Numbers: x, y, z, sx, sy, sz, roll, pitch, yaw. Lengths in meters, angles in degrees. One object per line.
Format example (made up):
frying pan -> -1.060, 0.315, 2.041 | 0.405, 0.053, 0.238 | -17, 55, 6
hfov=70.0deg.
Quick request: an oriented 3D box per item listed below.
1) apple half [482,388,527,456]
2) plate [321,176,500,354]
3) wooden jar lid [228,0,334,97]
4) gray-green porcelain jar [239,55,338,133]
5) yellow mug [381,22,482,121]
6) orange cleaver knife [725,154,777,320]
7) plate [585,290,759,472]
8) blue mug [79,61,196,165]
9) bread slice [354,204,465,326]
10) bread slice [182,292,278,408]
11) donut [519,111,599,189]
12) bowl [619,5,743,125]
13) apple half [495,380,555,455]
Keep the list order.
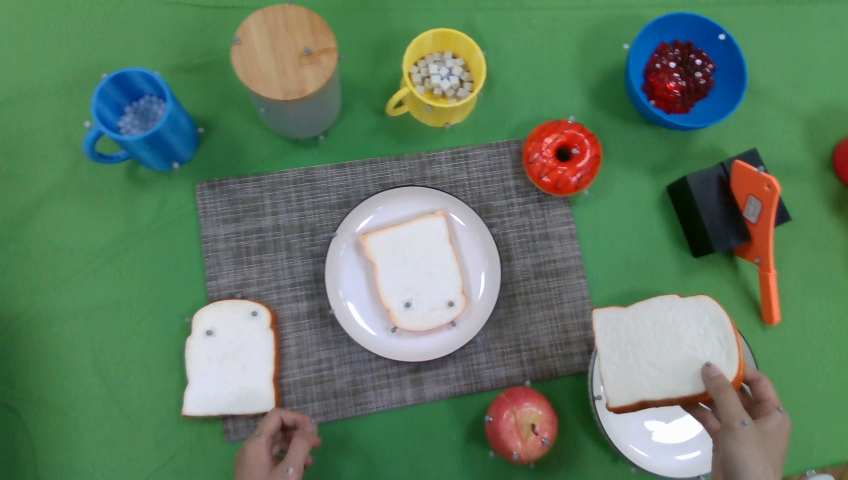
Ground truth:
apple half -> 0.082, 0.208, 0.677 | 0.033, 0.081, 0.081 | -17, 82, -12
plate -> -0.016, 0.030, 0.713 | 0.208, 0.039, 0.207 | 1, 81, -5
wooden jar lid -> -0.148, -0.199, 0.633 | 0.108, 0.021, 0.108 | 1, 79, -4
gray-green porcelain jar -> -0.153, -0.187, 0.694 | 0.106, 0.127, 0.105 | 1, 80, -5
yellow mug -> 0.004, -0.197, 0.742 | 0.131, 0.064, 0.099 | -33, 85, -9
orange cleaver knife -> 0.399, -0.001, 0.738 | 0.012, 0.076, 0.213 | -22, 113, -13
plate -> 0.291, 0.165, 0.723 | 0.209, 0.038, 0.208 | 1, 80, -5
blue mug -> -0.326, -0.130, 0.678 | 0.116, 0.106, 0.082 | -35, 85, -10
bread slice -> -0.009, 0.033, 0.714 | 0.107, 0.018, 0.134 | -20, 82, -8
bread slice -> -0.220, 0.125, 0.688 | 0.105, 0.019, 0.131 | -2, 82, -6
donut -> 0.166, -0.112, 0.750 | 0.099, 0.048, 0.098 | 1, 81, -5
bowl -> 0.310, -0.207, 0.766 | 0.151, 0.077, 0.151 | 1, 81, -5
apple half -> 0.118, 0.195, 0.684 | 0.053, 0.075, 0.080 | -18, 80, -13
